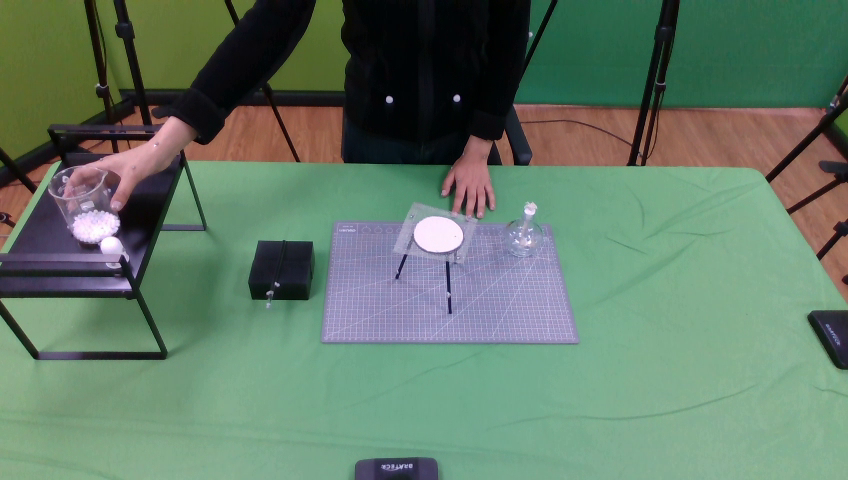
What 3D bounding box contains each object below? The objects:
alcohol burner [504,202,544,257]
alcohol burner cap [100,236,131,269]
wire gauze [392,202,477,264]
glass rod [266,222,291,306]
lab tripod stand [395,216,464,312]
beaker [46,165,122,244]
[{"bbox_3d":[0.195,-0.025,1.170,0.078,0.120,0.077,2,44,-2],"label":"alcohol burner"},{"bbox_3d":[-0.452,0.016,0.883,0.034,0.048,0.033,1,47,-1],"label":"alcohol burner cap"},{"bbox_3d":[0.021,-0.011,1.037,0.121,0.011,0.124,14,47,8],"label":"wire gauze"},{"bbox_3d":[-0.259,0.039,1.083,0.008,0.008,0.198,3,46,-1],"label":"glass rod"},{"bbox_3d":[0.023,0.036,1.084,0.148,0.132,0.147,4,46,-4],"label":"lab tripod stand"},{"bbox_3d":[-0.499,-0.051,0.905,0.073,0.101,0.084,35,53,26],"label":"beaker"}]
